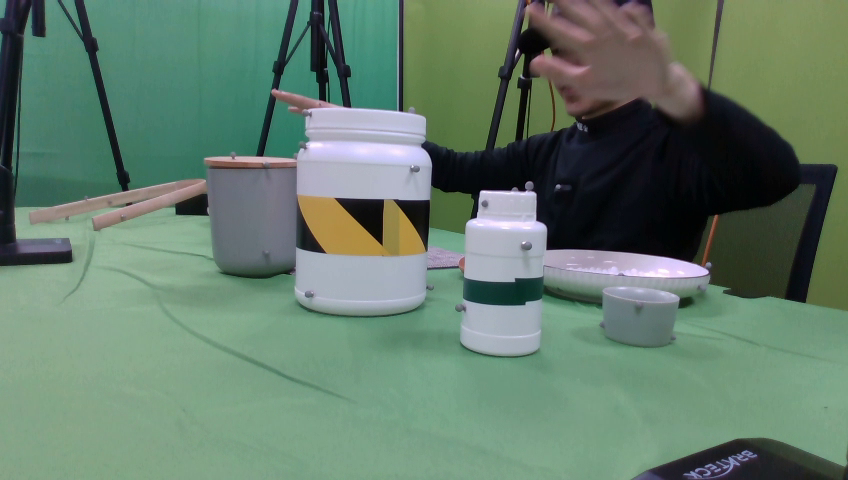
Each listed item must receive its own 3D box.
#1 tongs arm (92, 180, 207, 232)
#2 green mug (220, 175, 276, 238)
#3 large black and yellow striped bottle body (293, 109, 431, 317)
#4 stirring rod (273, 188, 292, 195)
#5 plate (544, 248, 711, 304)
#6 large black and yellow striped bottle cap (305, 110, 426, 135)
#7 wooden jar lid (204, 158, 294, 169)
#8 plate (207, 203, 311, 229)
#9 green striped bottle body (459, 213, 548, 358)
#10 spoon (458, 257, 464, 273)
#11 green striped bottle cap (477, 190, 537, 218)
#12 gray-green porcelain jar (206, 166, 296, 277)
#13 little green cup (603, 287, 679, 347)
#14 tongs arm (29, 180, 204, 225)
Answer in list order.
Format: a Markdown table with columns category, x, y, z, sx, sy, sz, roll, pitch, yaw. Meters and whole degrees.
| category | x | y | z | sx | sy | sz | roll | pitch | yaw |
| --- | --- | --- | --- | --- | --- | --- | --- | --- | --- |
| tongs arm | -0.534 | -0.076 | 1.221 | 0.028 | 0.028 | 0.388 | -2 | 15 | 12 |
| green mug | -0.310 | -0.060 | 1.051 | 0.093 | 0.105 | 0.124 | -2 | 8 | -31 |
| large black and yellow striped bottle body | -0.060 | -0.028 | 0.585 | 0.131 | 0.184 | 0.130 | 2 | 7 | 0 |
| stirring rod | -0.353 | -0.122 | 1.519 | 0.006 | 0.014 | 0.176 | 2 | 7 | 1 |
| plate | 0.219 | 0.041 | 0.706 | 0.209 | 0.038 | 0.209 | 2 | 7 | 0 |
| large black and yellow striped bottle cap | -0.055 | -0.110 | 0.574 | 0.115 | 0.019 | 0.115 | 1 | 7 | 0 |
| wooden jar lid | -0.202 | -0.086 | 0.714 | 0.108 | 0.020 | 0.108 | 3 | 11 | 0 |
| plate | -0.342 | -0.050 | 1.259 | 0.208 | 0.039 | 0.207 | 3 | 8 | 0 |
| green striped bottle body | 0.061 | 0.024 | 0.460 | 0.063 | 0.119 | 0.063 | 2 | 8 | 0 |
| spoon | 0.059 | 0.044 | 0.696 | 0.041 | 0.021 | 0.194 | 20 | 7 | 0 |
| green striped bottle cap | 0.062 | -0.027 | 0.453 | 0.044 | 0.020 | 0.044 | 2 | 4 | 0 |
| gray-green porcelain jar | -0.201 | -0.024 | 0.724 | 0.106 | 0.126 | 0.106 | -1 | 9 | 1 |
| little green cup | 0.180 | 0.064 | 0.506 | 0.061 | 0.038 | 0.061 | 2 | 8 | 0 |
| tongs arm | -0.609 | -0.083 | 1.245 | 0.050 | 0.026 | 0.386 | 5 | 16 | 23 |
